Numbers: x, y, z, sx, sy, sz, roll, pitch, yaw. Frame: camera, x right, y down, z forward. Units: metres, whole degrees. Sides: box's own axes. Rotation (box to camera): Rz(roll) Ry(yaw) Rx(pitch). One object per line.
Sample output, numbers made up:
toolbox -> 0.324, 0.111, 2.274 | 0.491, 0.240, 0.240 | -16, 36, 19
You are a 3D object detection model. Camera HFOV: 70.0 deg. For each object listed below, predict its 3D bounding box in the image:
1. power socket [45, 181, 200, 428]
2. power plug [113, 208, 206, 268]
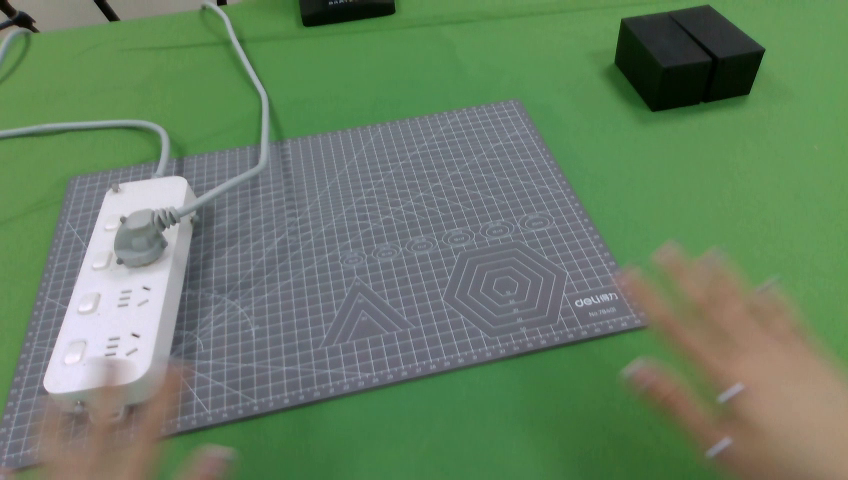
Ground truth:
power socket -> -0.222, 0.033, 0.465 | 0.072, 0.033, 0.224 | -6, 46, -4
power plug -> -0.197, 0.005, 0.456 | 0.072, 0.053, 0.035 | -1, 47, 5
